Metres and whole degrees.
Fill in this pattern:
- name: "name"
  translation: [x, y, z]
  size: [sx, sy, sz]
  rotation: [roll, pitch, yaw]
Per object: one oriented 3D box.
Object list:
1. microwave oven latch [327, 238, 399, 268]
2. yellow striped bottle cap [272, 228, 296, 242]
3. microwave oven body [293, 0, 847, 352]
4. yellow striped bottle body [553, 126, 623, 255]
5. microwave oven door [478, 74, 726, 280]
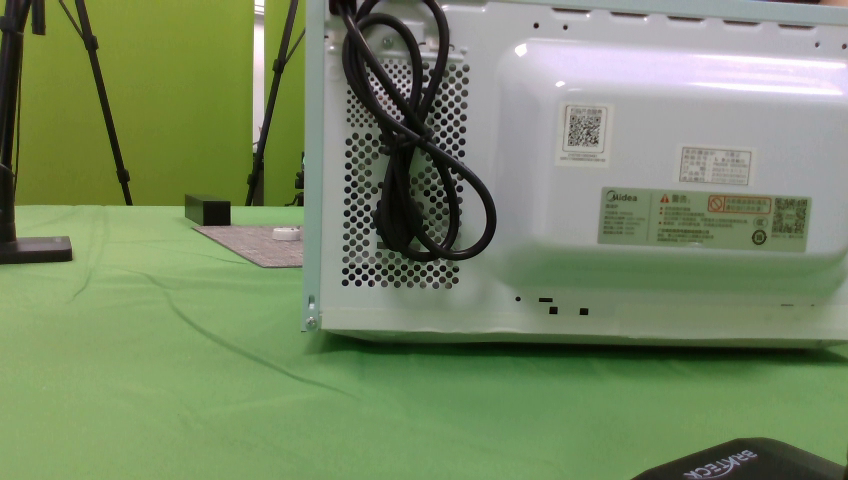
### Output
- name: "microwave oven latch"
  translation: [-0.070, 0.015, 0.694]
  size: [0.079, 0.029, 0.030]
  rotation: [3, 7, -3]
- name: "yellow striped bottle cap"
  translation: [-0.232, -0.008, 1.012]
  size: [0.044, 0.018, 0.044]
  rotation: [4, 8, 0]
- name: "microwave oven body"
  translation: [0.122, -0.055, 0.551]
  size: [0.442, 0.260, 0.325]
  rotation: [3, 7, -5]
- name: "yellow striped bottle body"
  translation: [0.158, -0.048, 0.584]
  size: [0.063, 0.120, 0.063]
  rotation: [1, 6, 0]
- name: "microwave oven door"
  translation: [0.219, -0.098, 0.837]
  size: [0.039, 0.243, 0.354]
  rotation: [-4, 12, -40]
